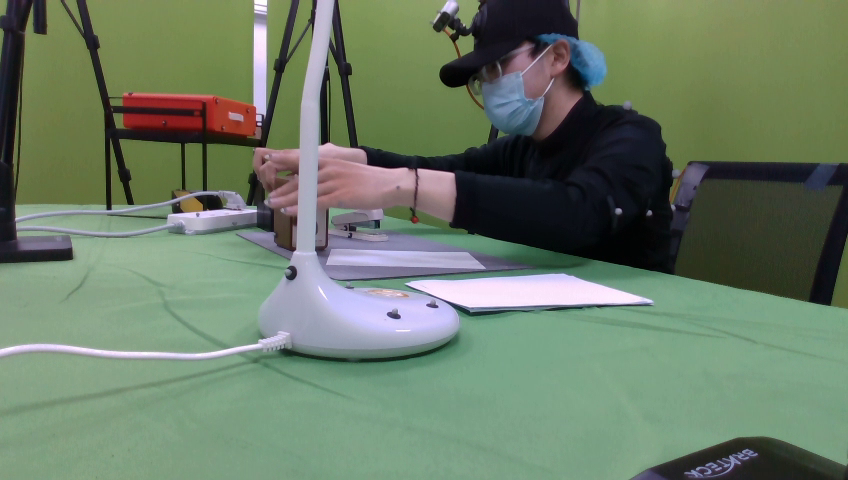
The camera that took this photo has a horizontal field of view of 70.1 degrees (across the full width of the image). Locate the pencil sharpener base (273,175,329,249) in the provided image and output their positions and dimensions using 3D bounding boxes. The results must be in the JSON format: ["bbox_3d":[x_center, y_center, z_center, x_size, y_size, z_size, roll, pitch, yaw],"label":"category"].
[{"bbox_3d":[-0.185,-0.042,0.907,0.062,0.107,0.076,-2,9,-34],"label":"pencil sharpener base"}]

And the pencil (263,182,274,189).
[{"bbox_3d":[-0.245,-0.088,1.015,0.012,0.012,0.193,-2,8,-27],"label":"pencil"}]

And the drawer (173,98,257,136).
[{"bbox_3d":[-0.518,-0.279,1.376,0.211,0.073,0.195,3,8,10],"label":"drawer"}]

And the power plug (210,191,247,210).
[{"bbox_3d":[-0.386,-0.071,1.204,0.072,0.052,0.035,7,9,26],"label":"power plug"}]

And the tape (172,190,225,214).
[{"bbox_3d":[-0.515,-0.087,1.388,0.117,0.052,0.117,3,7,0],"label":"tape"}]

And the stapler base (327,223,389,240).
[{"bbox_3d":[-0.117,-0.019,1.073,0.130,0.024,0.041,7,8,41],"label":"stapler base"}]

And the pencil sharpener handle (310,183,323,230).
[{"bbox_3d":[-0.159,-0.047,0.862,0.036,0.067,0.030,13,1,-35],"label":"pencil sharpener handle"}]

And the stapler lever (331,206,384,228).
[{"bbox_3d":[-0.119,-0.043,1.070,0.117,0.040,0.027,7,8,41],"label":"stapler lever"}]

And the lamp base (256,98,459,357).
[{"bbox_3d":[-0.055,-0.013,0.463,0.160,0.180,0.180,6,11,27],"label":"lamp base"}]

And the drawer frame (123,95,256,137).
[{"bbox_3d":[-0.524,-0.281,1.376,0.213,0.082,0.202,3,8,8],"label":"drawer frame"}]

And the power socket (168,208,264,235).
[{"bbox_3d":[-0.381,-0.038,1.129,0.072,0.032,0.227,4,8,17],"label":"power socket"}]
